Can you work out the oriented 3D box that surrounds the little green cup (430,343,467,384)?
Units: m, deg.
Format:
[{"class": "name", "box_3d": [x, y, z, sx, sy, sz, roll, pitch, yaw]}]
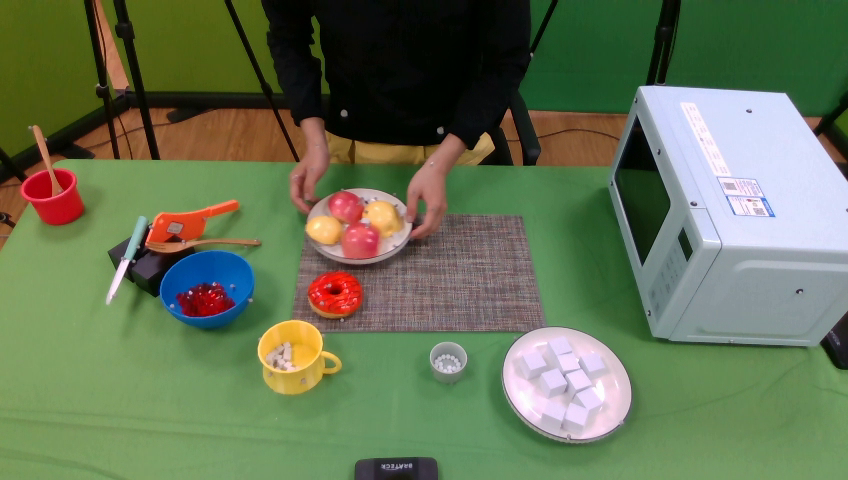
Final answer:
[{"class": "little green cup", "box_3d": [0.039, 0.203, 0.993, 0.061, 0.039, 0.061, 2, 46, -2]}]

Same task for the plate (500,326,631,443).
[{"class": "plate", "box_3d": [0.224, 0.233, 0.978, 0.208, 0.039, 0.206, 2, 46, -2]}]

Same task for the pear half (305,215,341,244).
[{"class": "pear half", "box_3d": [-0.190, -0.029, 1.173, 0.070, 0.031, 0.088, 37, 43, 1]}]

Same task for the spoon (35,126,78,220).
[{"class": "spoon", "box_3d": [-0.725, -0.132, 1.188, 0.042, 0.021, 0.194, -18, 95, -20]}]

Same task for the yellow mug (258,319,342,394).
[{"class": "yellow mug", "box_3d": [-0.196, 0.189, 0.972, 0.131, 0.064, 0.099, 9, 46, 4]}]

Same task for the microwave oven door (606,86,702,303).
[{"class": "microwave oven door", "box_3d": [0.423, -0.094, 1.140, 0.039, 0.245, 0.353, 2, 46, -1]}]

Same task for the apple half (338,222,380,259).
[{"class": "apple half", "box_3d": [-0.123, -0.004, 1.146, 0.074, 0.053, 0.080, 10, 42, 6]}]

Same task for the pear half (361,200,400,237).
[{"class": "pear half", "box_3d": [-0.095, -0.058, 1.208, 0.076, 0.056, 0.109, -20, 42, -28]}]

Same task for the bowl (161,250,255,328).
[{"class": "bowl", "box_3d": [-0.362, 0.097, 1.040, 0.151, 0.077, 0.150, 2, 45, -2]}]

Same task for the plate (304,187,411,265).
[{"class": "plate", "box_3d": [-0.130, -0.024, 1.191, 0.209, 0.038, 0.208, 2, 45, -2]}]

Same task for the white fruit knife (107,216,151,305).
[{"class": "white fruit knife", "box_3d": [-0.518, 0.032, 1.066, 0.027, 0.016, 0.206, -19, 45, 19]}]

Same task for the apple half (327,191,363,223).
[{"class": "apple half", "box_3d": [-0.154, -0.072, 1.212, 0.081, 0.033, 0.081, 19, 43, -18]}]

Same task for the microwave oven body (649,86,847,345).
[{"class": "microwave oven body", "box_3d": [0.567, -0.053, 1.118, 0.326, 0.261, 0.439, 2, 45, -1]}]

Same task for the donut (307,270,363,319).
[{"class": "donut", "box_3d": [-0.157, 0.097, 1.072, 0.099, 0.048, 0.098, 4, 45, -4]}]

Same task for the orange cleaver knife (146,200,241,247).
[{"class": "orange cleaver knife", "box_3d": [-0.435, -0.033, 1.157, 0.012, 0.077, 0.211, 31, 26, 19]}]

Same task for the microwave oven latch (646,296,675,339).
[{"class": "microwave oven latch", "box_3d": [0.412, 0.134, 1.061, 0.030, 0.029, 0.078, 4, 45, 1]}]

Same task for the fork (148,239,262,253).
[{"class": "fork", "box_3d": [-0.398, 0.008, 1.117, 0.208, 0.019, 0.028, -5, 34, -37]}]
